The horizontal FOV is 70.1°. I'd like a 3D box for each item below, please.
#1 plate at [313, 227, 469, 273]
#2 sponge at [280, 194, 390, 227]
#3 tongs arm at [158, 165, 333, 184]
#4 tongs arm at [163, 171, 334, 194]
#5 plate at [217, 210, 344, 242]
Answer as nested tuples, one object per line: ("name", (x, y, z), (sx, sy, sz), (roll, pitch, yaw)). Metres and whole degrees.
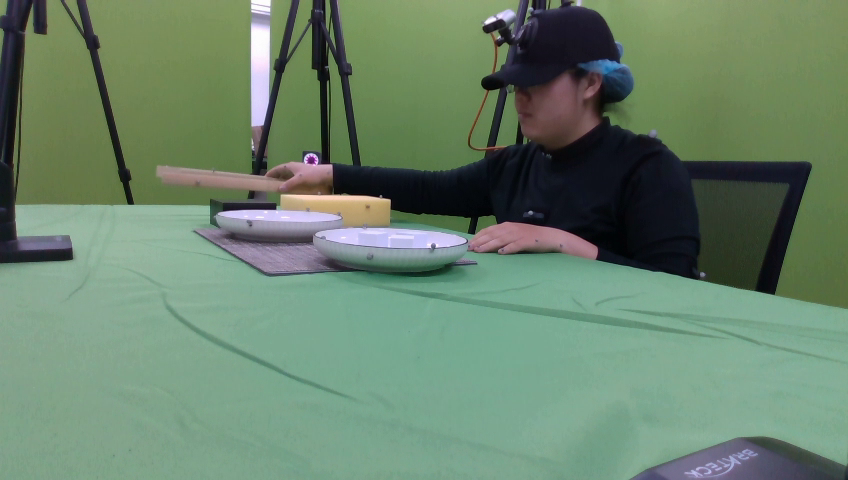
("plate", (-0.044, 0.012, 0.807), (0.209, 0.038, 0.209), (2, 7, 0))
("sponge", (-0.189, -0.063, 1.291), (0.208, 0.061, 0.117), (-2, 9, -35))
("tongs arm", (-0.401, -0.137, 1.391), (0.387, 0.026, 0.050), (3, 9, -28))
("tongs arm", (-0.370, -0.124, 1.337), (0.390, 0.028, 0.028), (1, 7, -36))
("plate", (-0.241, -0.024, 1.026), (0.208, 0.039, 0.207), (3, 7, 0))
